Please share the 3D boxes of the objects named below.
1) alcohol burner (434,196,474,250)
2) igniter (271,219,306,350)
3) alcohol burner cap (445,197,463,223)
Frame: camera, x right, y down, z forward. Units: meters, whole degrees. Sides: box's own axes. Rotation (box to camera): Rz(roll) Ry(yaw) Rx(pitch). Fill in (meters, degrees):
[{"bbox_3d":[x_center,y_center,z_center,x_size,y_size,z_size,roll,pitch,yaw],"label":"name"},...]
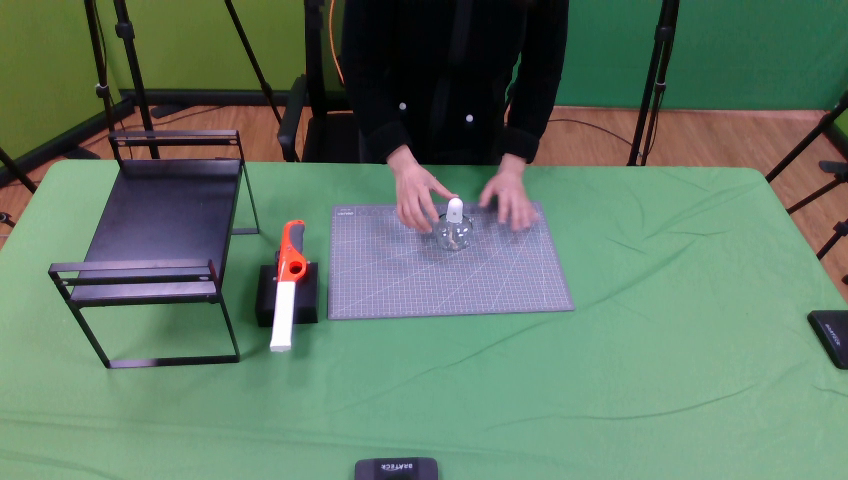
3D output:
[{"bbox_3d":[0.059,-0.038,1.169,0.078,0.119,0.077,3,45,-3],"label":"alcohol burner"},{"bbox_3d":[-0.235,0.067,1.047,0.057,0.025,0.274,0,49,-6],"label":"igniter"},{"bbox_3d":[0.059,-0.060,1.147,0.034,0.048,0.033,3,44,-3],"label":"alcohol burner cap"}]
